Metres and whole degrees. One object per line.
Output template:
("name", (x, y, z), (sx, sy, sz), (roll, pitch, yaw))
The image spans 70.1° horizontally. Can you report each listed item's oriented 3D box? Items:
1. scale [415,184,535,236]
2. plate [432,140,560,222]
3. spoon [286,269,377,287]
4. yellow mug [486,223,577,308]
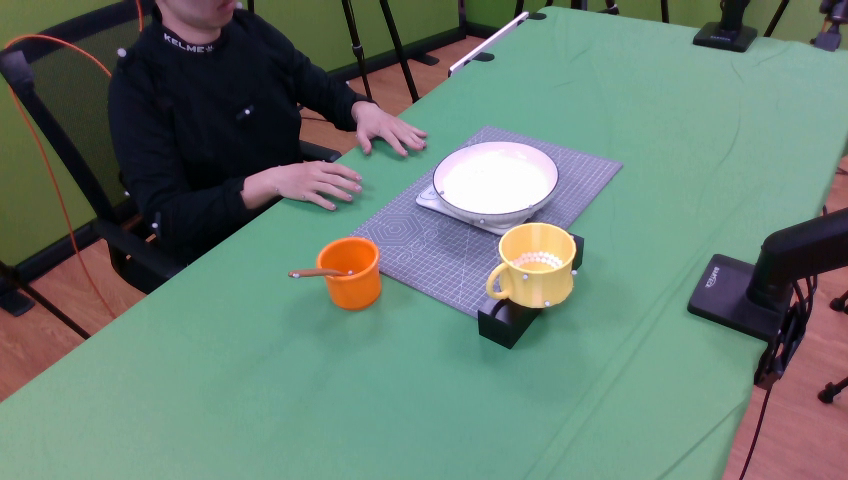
("scale", (0.099, -0.080, 1.035), (0.199, 0.032, 0.149), (23, 48, 31))
("plate", (0.118, -0.094, 0.999), (0.209, 0.038, 0.208), (-4, 41, 4))
("spoon", (-0.125, 0.050, 0.831), (0.041, 0.195, 0.021), (22, 93, 28))
("yellow mug", (0.136, 0.038, 0.793), (0.131, 0.064, 0.099), (-25, 43, -19))
